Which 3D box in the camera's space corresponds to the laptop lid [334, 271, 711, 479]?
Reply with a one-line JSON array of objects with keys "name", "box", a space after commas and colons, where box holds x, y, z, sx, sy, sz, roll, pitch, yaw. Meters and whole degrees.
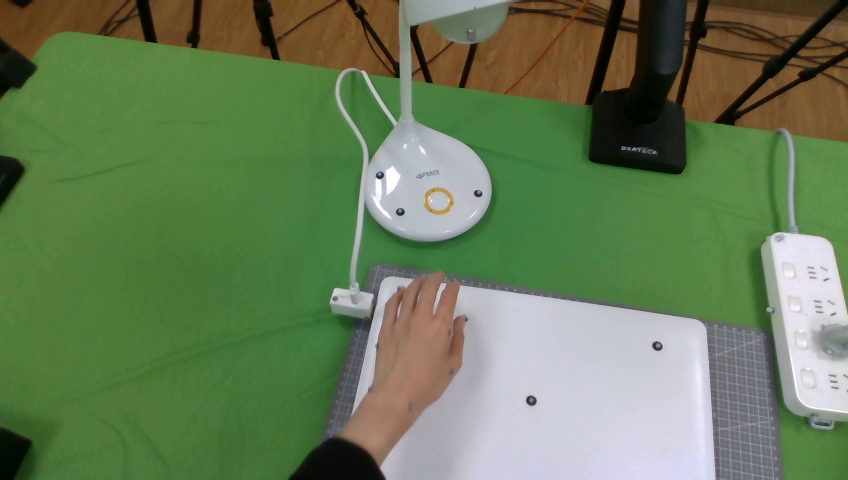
[{"name": "laptop lid", "box": [0.104, 0.156, 0.606, 0.356, 0.013, 0.240, 9, 63, 5]}]

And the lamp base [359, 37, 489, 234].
[{"name": "lamp base", "box": [-0.007, -0.124, 0.691, 0.161, 0.182, 0.177, -25, 60, -14]}]

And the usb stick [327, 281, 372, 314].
[{"name": "usb stick", "box": [-0.074, 0.064, 0.658, 0.059, 0.027, 0.021, 11, 55, 3]}]

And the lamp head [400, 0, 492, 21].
[{"name": "lamp head", "box": [0.025, -0.225, 0.426, 0.112, 0.111, 0.123, -18, 105, -10]}]

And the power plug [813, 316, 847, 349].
[{"name": "power plug", "box": [0.438, 0.100, 0.618, 0.072, 0.053, 0.035, 17, 61, 9]}]

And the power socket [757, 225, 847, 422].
[{"name": "power socket", "box": [0.413, 0.080, 0.657, 0.072, 0.033, 0.225, 8, 60, 3]}]

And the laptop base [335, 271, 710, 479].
[{"name": "laptop base", "box": [0.105, 0.160, 0.617, 0.354, 0.023, 0.234, 7, 63, 4]}]
